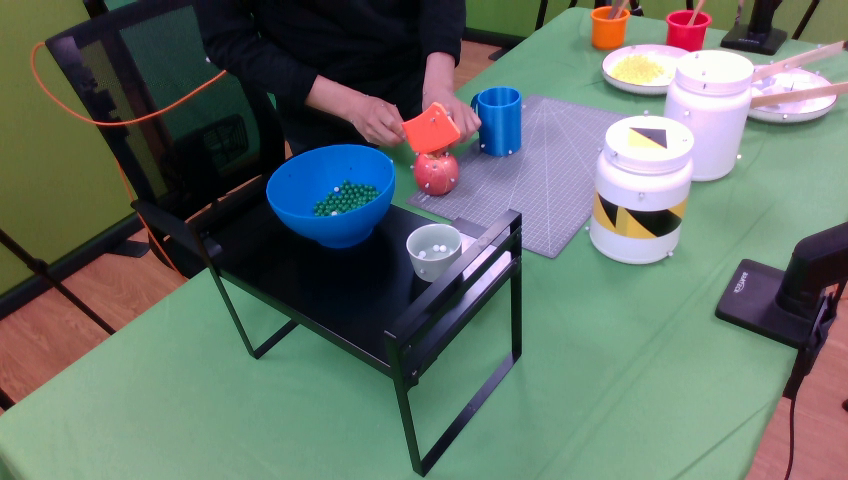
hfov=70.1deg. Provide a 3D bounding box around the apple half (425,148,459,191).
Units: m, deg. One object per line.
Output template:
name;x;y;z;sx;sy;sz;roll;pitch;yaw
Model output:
apple half;0.032;-0.129;1.081;0.053;0.075;0.080;-30;41;-31

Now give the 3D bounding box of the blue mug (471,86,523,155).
blue mug;0.135;-0.235;1.163;0.082;0.106;0.115;-36;48;-28

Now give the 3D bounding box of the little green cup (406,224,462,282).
little green cup;0.012;0.015;0.668;0.061;0.039;0.061;-4;40;4

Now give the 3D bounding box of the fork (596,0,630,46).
fork;0.481;-0.556;1.452;0.028;0.019;0.207;40;103;41

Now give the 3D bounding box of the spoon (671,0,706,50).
spoon;0.629;-0.520;1.394;0.041;0.022;0.193;30;97;35

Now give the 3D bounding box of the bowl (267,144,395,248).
bowl;-0.104;-0.043;0.726;0.151;0.077;0.150;-4;40;4

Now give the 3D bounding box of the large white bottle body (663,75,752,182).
large white bottle body;0.472;-0.207;1.022;0.130;0.185;0.130;-4;41;4

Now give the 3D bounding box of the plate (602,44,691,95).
plate;0.495;-0.367;1.317;0.209;0.038;0.208;-4;40;4

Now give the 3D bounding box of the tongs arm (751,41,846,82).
tongs arm;0.708;-0.331;1.194;0.386;0.026;0.050;-18;45;-16

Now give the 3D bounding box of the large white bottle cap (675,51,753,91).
large white bottle cap;0.463;-0.271;0.967;0.115;0.018;0.114;-4;40;3

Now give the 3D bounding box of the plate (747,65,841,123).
plate;0.694;-0.283;1.189;0.207;0.039;0.206;-4;40;4

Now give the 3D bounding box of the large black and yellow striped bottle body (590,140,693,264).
large black and yellow striped bottle body;0.317;-0.071;0.889;0.131;0.185;0.130;-4;41;4

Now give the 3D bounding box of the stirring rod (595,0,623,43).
stirring rod;0.460;-0.556;1.460;0.014;0.006;0.176;30;94;23

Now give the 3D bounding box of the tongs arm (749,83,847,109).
tongs arm;0.734;-0.281;1.133;0.388;0.028;0.028;-9;47;-5

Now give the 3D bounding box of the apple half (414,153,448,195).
apple half;0.005;-0.110;1.060;0.033;0.081;0.080;-32;46;-33

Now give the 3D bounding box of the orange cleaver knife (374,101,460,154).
orange cleaver knife;-0.015;-0.185;1.044;0.012;0.077;0.210;-39;21;-32

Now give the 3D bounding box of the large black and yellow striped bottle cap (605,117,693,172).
large black and yellow striped bottle cap;0.309;-0.134;0.833;0.115;0.019;0.114;-5;40;5
